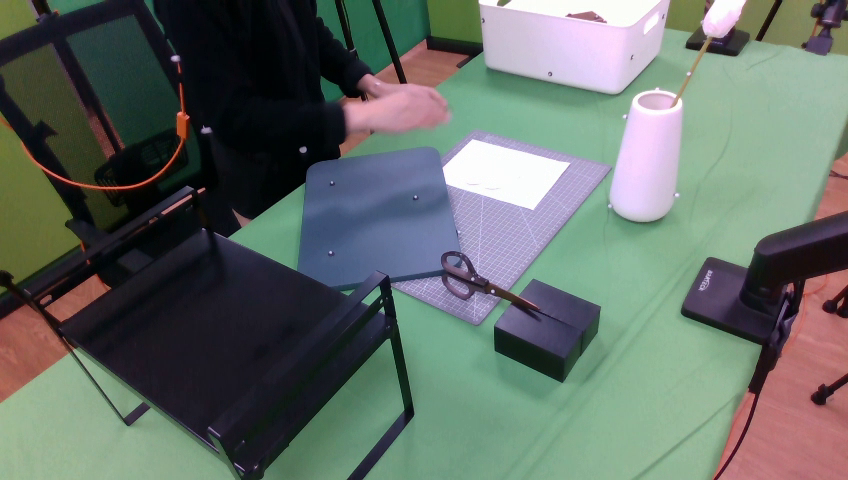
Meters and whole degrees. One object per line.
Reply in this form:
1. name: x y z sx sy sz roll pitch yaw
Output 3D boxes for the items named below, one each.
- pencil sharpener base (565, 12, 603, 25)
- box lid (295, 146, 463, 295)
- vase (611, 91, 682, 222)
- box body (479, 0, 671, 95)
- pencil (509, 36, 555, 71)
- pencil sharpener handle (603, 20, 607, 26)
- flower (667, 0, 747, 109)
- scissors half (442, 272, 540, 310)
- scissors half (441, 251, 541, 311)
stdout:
1. pencil sharpener base: 0.363 -0.457 1.382 0.077 0.107 0.061 -14 41 -9
2. box lid: -0.084 -0.048 1.052 0.263 0.015 0.369 -9 40 0
3. vase: 0.348 -0.125 0.935 0.098 0.201 0.097 -3 40 3
4. box body: 0.339 -0.480 1.381 0.361 0.161 0.255 22 48 30
5. pencil: 0.263 -0.454 1.470 0.012 0.012 0.194 27 54 33
6. pencil sharpener handle: 0.412 -0.477 1.381 0.031 0.068 0.035 -14 36 -8
7. flower: 0.354 -0.187 0.879 0.038 0.362 0.044 31 48 14
8. scissors half: 0.089 0.074 0.832 0.013 0.040 0.173 -24 23 -38
9. scissors half: 0.087 0.056 0.824 0.173 0.040 0.013 29 44 36
